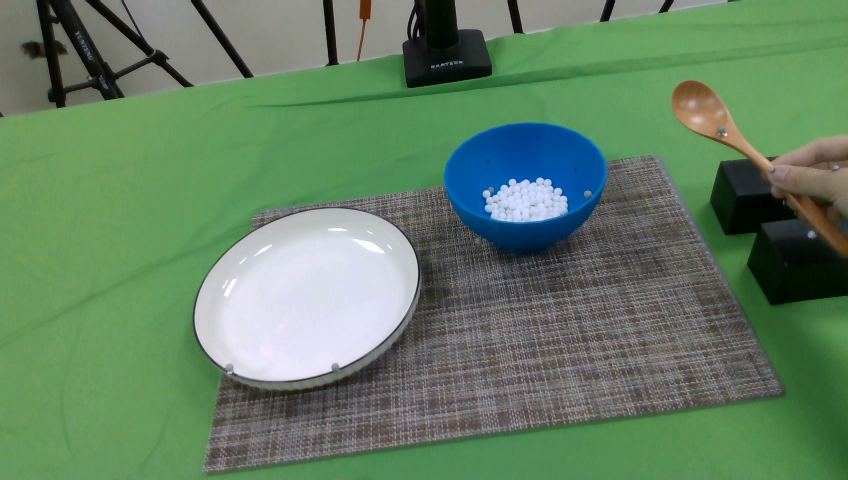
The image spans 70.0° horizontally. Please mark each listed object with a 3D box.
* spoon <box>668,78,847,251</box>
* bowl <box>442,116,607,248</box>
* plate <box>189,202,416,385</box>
[{"bbox_3d":[0.267,-0.064,0.486,0.041,0.022,0.192,-25,60,-17],"label":"spoon"},{"bbox_3d":[0.096,-0.045,0.587,0.151,0.077,0.150,-5,45,5],"label":"bowl"},{"bbox_3d":[-0.108,0.048,0.563,0.207,0.039,0.205,-5,46,5],"label":"plate"}]
